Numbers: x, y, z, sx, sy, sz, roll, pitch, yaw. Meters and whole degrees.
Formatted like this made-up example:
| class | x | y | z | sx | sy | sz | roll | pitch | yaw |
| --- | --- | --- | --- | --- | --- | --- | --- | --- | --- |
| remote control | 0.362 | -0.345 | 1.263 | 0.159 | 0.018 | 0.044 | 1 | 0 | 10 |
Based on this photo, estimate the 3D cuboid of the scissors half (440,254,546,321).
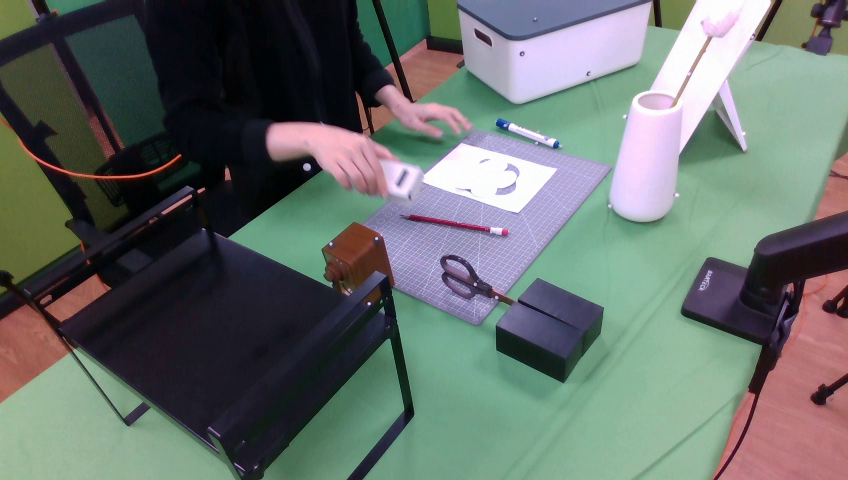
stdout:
| class | x | y | z | sx | sy | sz | roll | pitch | yaw |
| --- | --- | --- | --- | --- | --- | --- | --- | --- | --- |
| scissors half | 0.092 | 0.065 | 0.825 | 0.174 | 0.040 | 0.013 | 32 | 59 | 25 |

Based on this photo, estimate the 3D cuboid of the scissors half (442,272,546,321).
| class | x | y | z | sx | sy | sz | roll | pitch | yaw |
| --- | --- | --- | --- | --- | --- | --- | --- | --- | --- |
| scissors half | 0.094 | 0.080 | 0.838 | 0.173 | 0.040 | 0.013 | 19 | 47 | 39 |

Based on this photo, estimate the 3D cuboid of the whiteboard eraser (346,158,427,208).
| class | x | y | z | sx | sy | sz | roll | pitch | yaw |
| --- | --- | --- | --- | --- | --- | --- | --- | --- | --- |
| whiteboard eraser | -0.056 | -0.083 | 0.901 | 0.112 | 0.042 | 0.055 | 17 | 62 | 25 |

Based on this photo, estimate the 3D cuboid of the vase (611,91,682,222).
| class | x | y | z | sx | sy | sz | roll | pitch | yaw |
| --- | --- | --- | --- | --- | --- | --- | --- | --- | --- |
| vase | 0.348 | -0.125 | 0.935 | 0.098 | 0.201 | 0.097 | -3 | 40 | 3 |

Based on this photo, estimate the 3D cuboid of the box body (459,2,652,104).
| class | x | y | z | sx | sy | sz | roll | pitch | yaw |
| --- | --- | --- | --- | --- | --- | --- | --- | --- | --- |
| box body | 0.291 | -0.465 | 1.371 | 0.365 | 0.161 | 0.252 | -22 | 42 | -16 |

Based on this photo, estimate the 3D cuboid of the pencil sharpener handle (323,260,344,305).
| class | x | y | z | sx | sy | sz | roll | pitch | yaw |
| --- | --- | --- | --- | --- | --- | --- | --- | --- | --- |
| pencil sharpener handle | -0.131 | 0.062 | 0.839 | 0.035 | 0.068 | 0.031 | 29 | 55 | 28 |

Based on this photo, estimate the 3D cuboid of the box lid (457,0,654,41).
| class | x | y | z | sx | sy | sz | roll | pitch | yaw |
| --- | --- | --- | --- | --- | --- | --- | --- | --- | --- |
| box lid | 0.285 | -0.522 | 1.323 | 0.373 | 0.015 | 0.261 | -22 | 43 | -16 |

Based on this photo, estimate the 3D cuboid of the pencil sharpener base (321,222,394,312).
| class | x | y | z | sx | sy | sz | roll | pitch | yaw |
| --- | --- | --- | --- | --- | --- | --- | --- | --- | --- |
| pencil sharpener base | -0.096 | 0.041 | 0.873 | 0.061 | 0.107 | 0.077 | 26 | 54 | 32 |

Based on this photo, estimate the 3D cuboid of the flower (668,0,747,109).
| class | x | y | z | sx | sy | sz | roll | pitch | yaw |
| --- | --- | --- | --- | --- | --- | --- | --- | --- | --- |
| flower | 0.354 | -0.187 | 0.879 | 0.038 | 0.362 | 0.044 | 30 | 48 | 14 |

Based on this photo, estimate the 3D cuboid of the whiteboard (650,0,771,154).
| class | x | y | z | sx | sy | sz | roll | pitch | yaw |
| --- | --- | --- | --- | --- | --- | --- | --- | --- | --- |
| whiteboard | 0.543 | -0.298 | 1.076 | 0.144 | 0.305 | 0.216 | 12 | 40 | -7 |

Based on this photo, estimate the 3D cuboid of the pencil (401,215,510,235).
| class | x | y | z | sx | sy | sz | roll | pitch | yaw |
| --- | --- | --- | --- | --- | --- | --- | --- | --- | --- |
| pencil | 0.049 | -0.027 | 1.006 | 0.193 | 0.012 | 0.012 | 10 | 43 | 21 |

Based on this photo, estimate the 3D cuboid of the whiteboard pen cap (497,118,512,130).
| class | x | y | z | sx | sy | sz | roll | pitch | yaw |
| --- | --- | --- | --- | --- | --- | --- | --- | --- | --- |
| whiteboard pen cap | 0.165 | -0.235 | 1.227 | 0.033 | 0.018 | 0.018 | 31 | 53 | 31 |

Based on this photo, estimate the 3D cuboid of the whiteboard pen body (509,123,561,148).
| class | x | y | z | sx | sy | sz | roll | pitch | yaw |
| --- | --- | --- | --- | --- | --- | --- | --- | --- | --- |
| whiteboard pen body | 0.209 | -0.211 | 1.196 | 0.139 | 0.017 | 0.017 | 30 | 52 | 33 |
